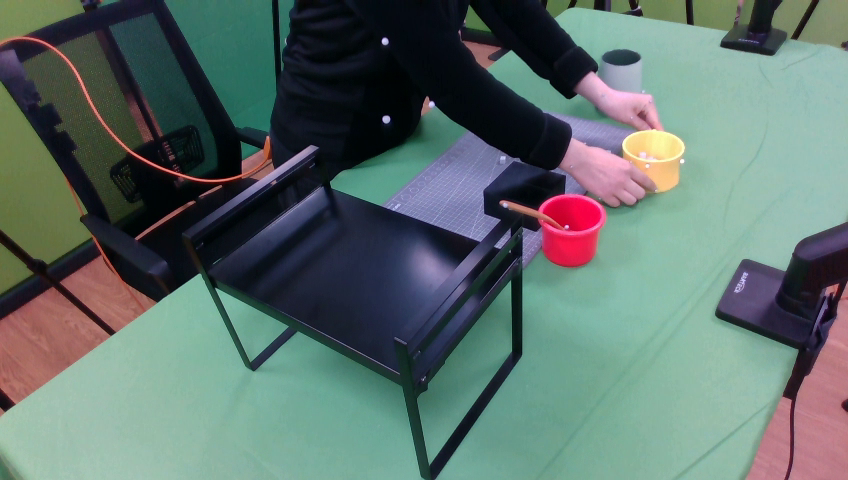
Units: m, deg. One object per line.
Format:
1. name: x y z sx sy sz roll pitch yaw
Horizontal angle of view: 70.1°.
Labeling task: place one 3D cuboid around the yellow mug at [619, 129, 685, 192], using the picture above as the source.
1. yellow mug: 0.396 -0.147 1.054 0.099 0.064 0.130 6 42 16

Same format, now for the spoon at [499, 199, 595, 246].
1. spoon: 0.184 -0.028 0.888 0.195 0.021 0.041 23 24 -33

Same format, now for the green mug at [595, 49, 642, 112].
1. green mug: 0.397 -0.333 1.240 0.092 0.105 0.125 -2 41 7
